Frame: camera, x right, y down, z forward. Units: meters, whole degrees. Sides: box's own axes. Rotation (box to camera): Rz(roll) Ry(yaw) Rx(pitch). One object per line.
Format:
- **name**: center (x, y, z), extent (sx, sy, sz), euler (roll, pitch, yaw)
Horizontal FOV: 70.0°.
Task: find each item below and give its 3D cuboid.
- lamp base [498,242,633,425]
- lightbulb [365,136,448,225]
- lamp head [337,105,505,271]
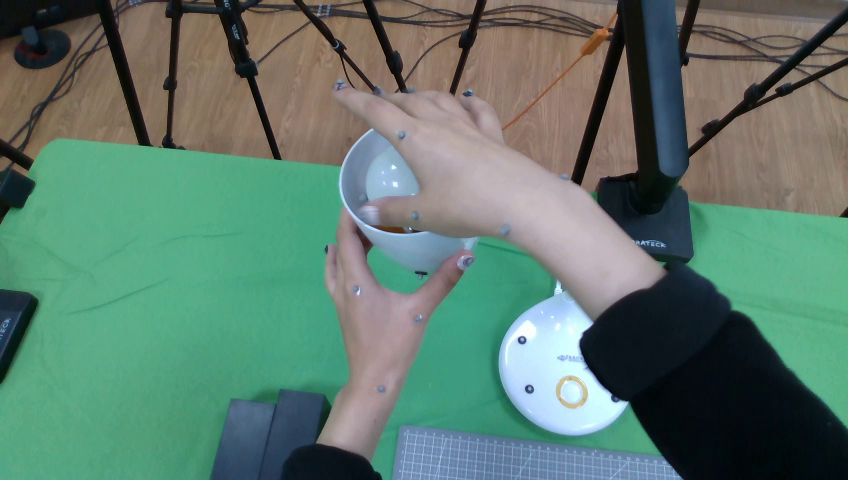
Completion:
- **lamp base**: center (0.167, 0.093, 0.664), extent (0.161, 0.182, 0.177), euler (-6, 59, -3)
- **lightbulb**: center (-0.007, -0.036, 0.458), extent (0.059, 0.108, 0.059), euler (-5, 68, 12)
- **lamp head**: center (0.005, -0.029, 0.484), extent (0.112, 0.124, 0.111), euler (-8, 60, 14)
